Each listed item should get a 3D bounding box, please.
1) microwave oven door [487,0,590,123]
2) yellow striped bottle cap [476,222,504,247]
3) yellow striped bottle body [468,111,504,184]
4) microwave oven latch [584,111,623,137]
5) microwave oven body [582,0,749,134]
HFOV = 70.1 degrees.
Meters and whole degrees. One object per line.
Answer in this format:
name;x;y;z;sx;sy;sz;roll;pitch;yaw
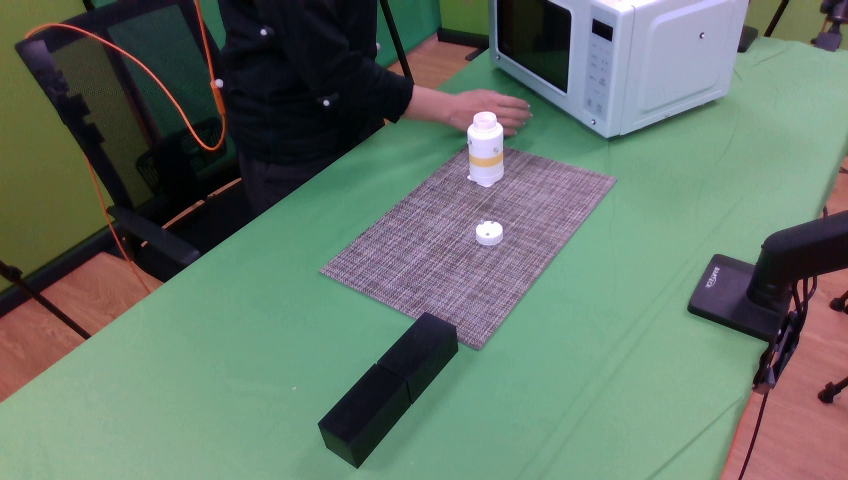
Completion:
microwave oven door;0.231;-0.419;1.230;0.039;0.245;0.352;-22;43;-16
yellow striped bottle cap;0.105;-0.010;0.966;0.044;0.019;0.044;-3;39;3
yellow striped bottle body;0.109;-0.165;1.064;0.063;0.121;0.062;-4;41;4
microwave oven latch;0.337;-0.222;1.142;0.030;0.029;0.078;-21;42;-14
microwave oven body;0.382;-0.444;1.246;0.327;0.261;0.437;-22;42;-16
